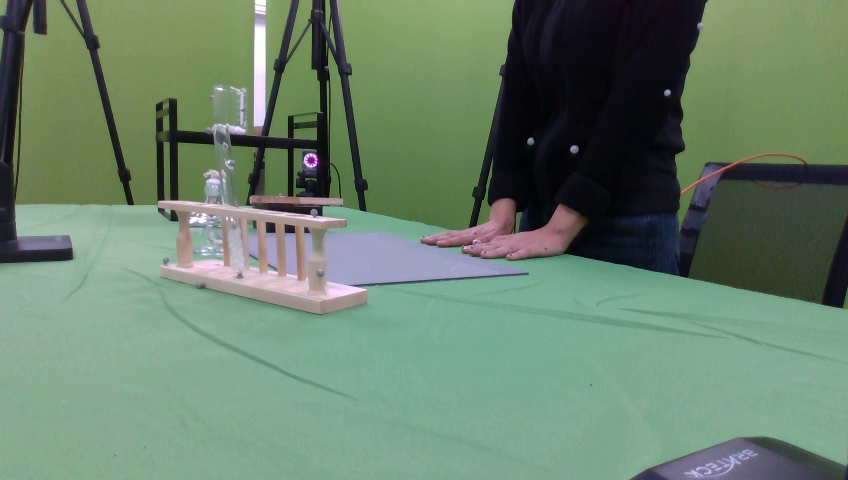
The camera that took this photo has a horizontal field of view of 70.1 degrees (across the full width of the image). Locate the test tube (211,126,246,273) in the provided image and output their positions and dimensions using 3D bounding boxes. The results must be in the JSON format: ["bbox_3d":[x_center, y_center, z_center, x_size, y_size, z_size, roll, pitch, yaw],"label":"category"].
[{"bbox_3d":[-0.198,-0.040,0.614,0.017,0.150,0.017,-5,7,1],"label":"test tube"}]

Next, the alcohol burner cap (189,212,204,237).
[{"bbox_3d":[-0.389,-0.029,1.026,0.034,0.048,0.034,3,8,0],"label":"alcohol burner cap"}]

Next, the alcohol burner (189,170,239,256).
[{"bbox_3d":[-0.296,-0.038,0.851,0.078,0.119,0.078,2,5,0],"label":"alcohol burner"}]

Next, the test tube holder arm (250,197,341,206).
[{"bbox_3d":[-0.241,-0.074,1.150,0.179,0.015,0.013,-1,6,-35],"label":"test tube holder arm"}]

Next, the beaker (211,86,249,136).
[{"bbox_3d":[-0.413,-0.274,1.297,0.074,0.100,0.083,-5,11,-44],"label":"beaker"}]

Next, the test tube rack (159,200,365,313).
[{"bbox_3d":[-0.173,0.009,0.624,0.241,0.085,0.067,7,9,34],"label":"test tube rack"}]

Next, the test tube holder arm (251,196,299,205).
[{"bbox_3d":[-0.275,-0.073,1.120,0.088,0.015,0.010,-1,6,-33],"label":"test tube holder arm"}]
